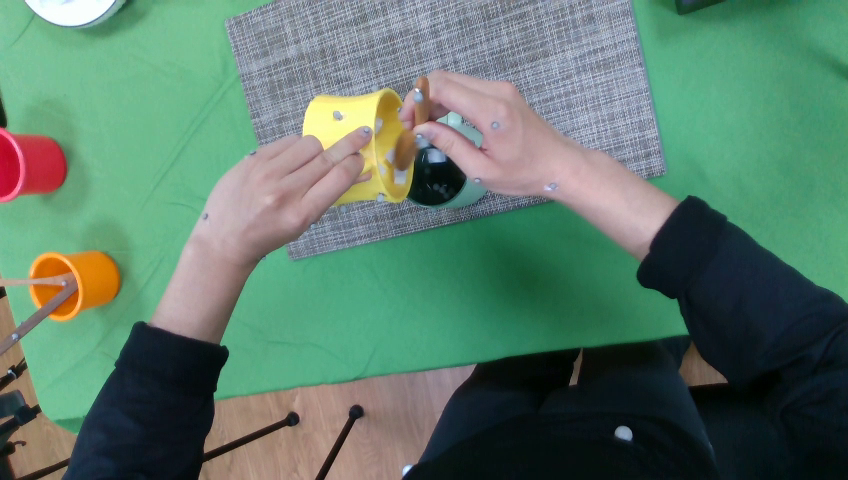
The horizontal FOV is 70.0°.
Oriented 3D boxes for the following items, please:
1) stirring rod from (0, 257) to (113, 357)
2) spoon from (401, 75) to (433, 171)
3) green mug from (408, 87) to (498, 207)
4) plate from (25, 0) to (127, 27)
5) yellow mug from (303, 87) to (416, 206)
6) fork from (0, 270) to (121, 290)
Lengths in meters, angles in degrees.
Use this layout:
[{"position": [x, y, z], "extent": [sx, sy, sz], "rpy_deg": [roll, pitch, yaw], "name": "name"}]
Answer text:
[{"position": [-0.486, 0.086, 0.802], "extent": [0.014, 0.006, 0.175], "rpy_deg": [38, 65, 8], "name": "stirring rod"}, {"position": [-0.003, -0.089, 0.468], "extent": [0.021, 0.194, 0.041], "rpy_deg": [28, 83, -2], "name": "spoon"}, {"position": [0.024, -0.094, 0.627], "extent": [0.092, 0.105, 0.125], "rpy_deg": [5, 100, 17], "name": "green mug"}, {"position": [-0.436, -0.375, 0.765], "extent": [0.207, 0.039, 0.208], "rpy_deg": [3, 100, 17], "name": "plate"}, {"position": [-0.058, -0.075, 0.526], "extent": [0.064, 0.130, 0.100], "rpy_deg": [-2, 117, 19], "name": "yellow mug"}, {"position": [-0.517, 0.056, 0.800], "extent": [0.208, 0.018, 0.028], "rpy_deg": [-1, 98, -26], "name": "fork"}]
